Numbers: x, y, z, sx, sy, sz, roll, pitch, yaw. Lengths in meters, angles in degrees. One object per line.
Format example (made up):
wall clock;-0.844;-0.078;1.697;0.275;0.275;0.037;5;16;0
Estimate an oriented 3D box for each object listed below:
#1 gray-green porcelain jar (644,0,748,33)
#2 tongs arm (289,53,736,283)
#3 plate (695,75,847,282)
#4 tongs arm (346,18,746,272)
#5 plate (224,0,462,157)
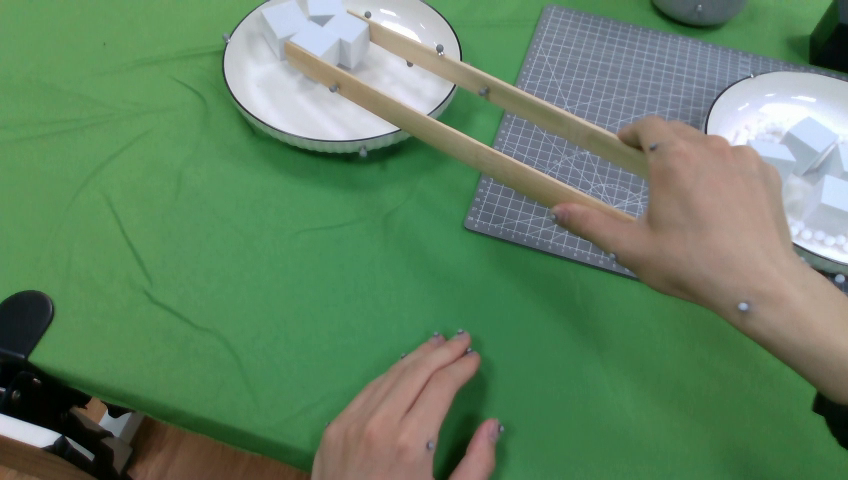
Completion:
gray-green porcelain jar;0.283;-0.282;0.599;0.106;0.127;0.105;1;56;-1
tongs arm;0.028;-0.067;0.440;0.384;0.028;0.028;32;56;29
plate;0.326;-0.052;0.500;0.209;0.038;0.207;1;57;-2
tongs arm;0.057;-0.091;0.456;0.381;0.027;0.050;33;60;29
plate;-0.070;-0.151;0.548;0.208;0.039;0.205;1;57;-2
